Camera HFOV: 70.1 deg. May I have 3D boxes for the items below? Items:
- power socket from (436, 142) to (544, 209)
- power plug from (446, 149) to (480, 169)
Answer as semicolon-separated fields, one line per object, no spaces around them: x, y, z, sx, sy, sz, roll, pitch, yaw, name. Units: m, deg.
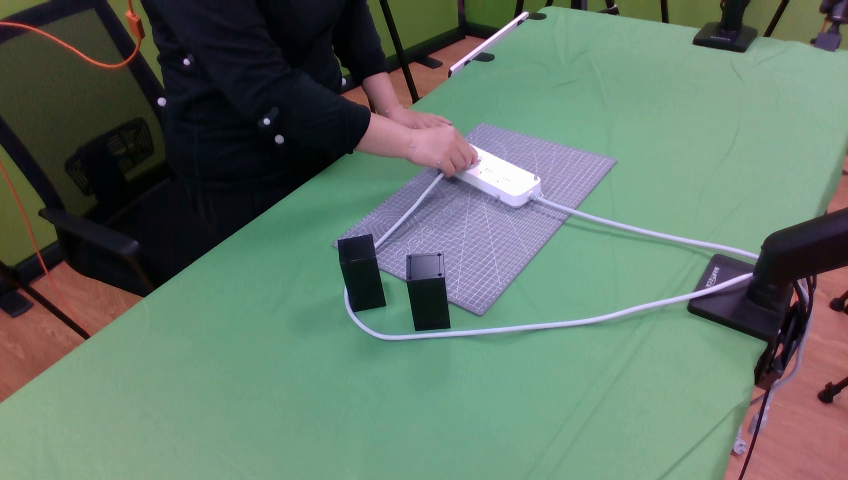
0.112;-0.119;1.083;0.072;0.033;0.224;-34;47;-27;power socket
0.066;-0.135;1.078;0.073;0.053;0.035;-22;43;-17;power plug
